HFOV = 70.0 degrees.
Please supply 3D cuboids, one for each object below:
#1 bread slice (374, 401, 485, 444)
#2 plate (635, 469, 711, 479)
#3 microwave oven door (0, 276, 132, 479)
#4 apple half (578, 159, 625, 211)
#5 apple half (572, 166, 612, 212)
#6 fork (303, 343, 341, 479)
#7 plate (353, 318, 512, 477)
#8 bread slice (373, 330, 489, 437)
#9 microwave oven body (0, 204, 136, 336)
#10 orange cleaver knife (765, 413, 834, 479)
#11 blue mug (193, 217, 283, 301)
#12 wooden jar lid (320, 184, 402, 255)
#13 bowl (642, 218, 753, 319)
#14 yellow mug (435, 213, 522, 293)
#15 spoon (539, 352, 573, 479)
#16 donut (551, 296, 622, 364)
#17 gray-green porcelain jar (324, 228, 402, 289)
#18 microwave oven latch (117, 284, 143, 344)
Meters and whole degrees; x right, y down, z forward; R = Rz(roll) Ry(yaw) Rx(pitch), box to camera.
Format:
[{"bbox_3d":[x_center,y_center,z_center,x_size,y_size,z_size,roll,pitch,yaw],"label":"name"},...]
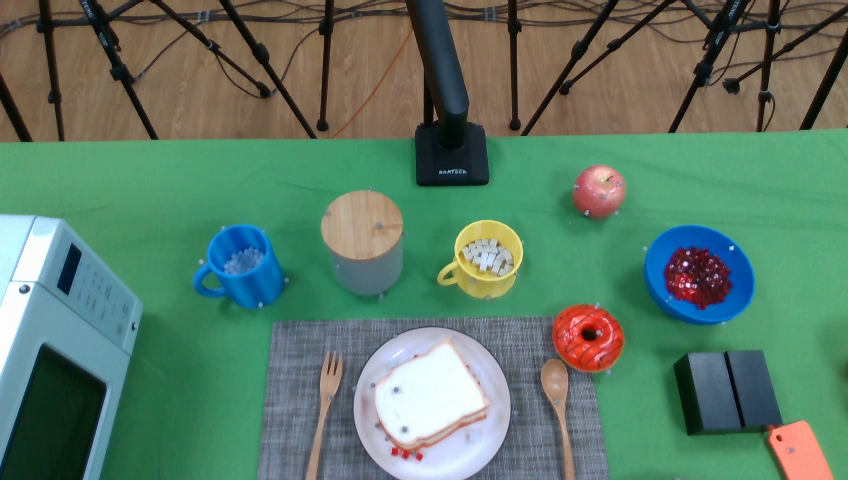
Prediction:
[{"bbox_3d":[0.002,0.208,0.805,0.131,0.019,0.104,-25,67,-16],"label":"bread slice"},{"bbox_3d":[0.308,0.385,0.723,0.209,0.038,0.207,1,62,-1],"label":"plate"},{"bbox_3d":[-0.416,0.246,0.638,0.039,0.245,0.353,2,62,0],"label":"microwave oven door"},{"bbox_3d":[0.282,-0.089,0.951,0.053,0.075,0.080,-29,63,-21],"label":"apple half"},{"bbox_3d":[0.251,-0.070,0.938,0.033,0.082,0.080,-30,66,-21],"label":"apple half"},{"bbox_3d":[-0.137,0.235,0.794,0.028,0.019,0.205,10,61,-5],"label":"fork"},{"bbox_3d":[0.011,0.206,0.804,0.208,0.039,0.206,1,62,-1],"label":"plate"},{"bbox_3d":[0.003,0.192,0.782,0.134,0.018,0.106,-29,64,-17],"label":"bread slice"},{"bbox_3d":[-0.561,0.205,0.661,0.326,0.262,0.438,2,63,-1],"label":"microwave oven body"},{"bbox_3d":[0.495,0.326,0.771,0.077,0.012,0.209,3,61,-8],"label":"orange cleaver knife"},{"bbox_3d":[-0.264,0.035,0.850,0.116,0.106,0.081,-24,65,-13],"label":"blue mug"},{"bbox_3d":[-0.083,-0.025,0.806,0.108,0.021,0.107,1,60,-1],"label":"wooden jar lid"},{"bbox_3d":[0.382,0.052,0.877,0.151,0.077,0.150,1,63,-1],"label":"bowl"},{"bbox_3d":[0.076,0.025,0.889,0.131,0.064,0.099,-22,65,-12],"label":"yellow mug"},{"bbox_3d":[0.179,0.244,0.797,0.042,0.022,0.192,9,59,-22],"label":"spoon"},{"bbox_3d":[0.227,0.126,0.849,0.099,0.048,0.098,1,63,-1],"label":"donut"},{"bbox_3d":[-0.084,0.005,0.861,0.106,0.127,0.105,1,62,-1],"label":"gray-green porcelain jar"},{"bbox_3d":[-0.409,0.101,0.829,0.030,0.030,0.078,4,63,0],"label":"microwave oven latch"}]
